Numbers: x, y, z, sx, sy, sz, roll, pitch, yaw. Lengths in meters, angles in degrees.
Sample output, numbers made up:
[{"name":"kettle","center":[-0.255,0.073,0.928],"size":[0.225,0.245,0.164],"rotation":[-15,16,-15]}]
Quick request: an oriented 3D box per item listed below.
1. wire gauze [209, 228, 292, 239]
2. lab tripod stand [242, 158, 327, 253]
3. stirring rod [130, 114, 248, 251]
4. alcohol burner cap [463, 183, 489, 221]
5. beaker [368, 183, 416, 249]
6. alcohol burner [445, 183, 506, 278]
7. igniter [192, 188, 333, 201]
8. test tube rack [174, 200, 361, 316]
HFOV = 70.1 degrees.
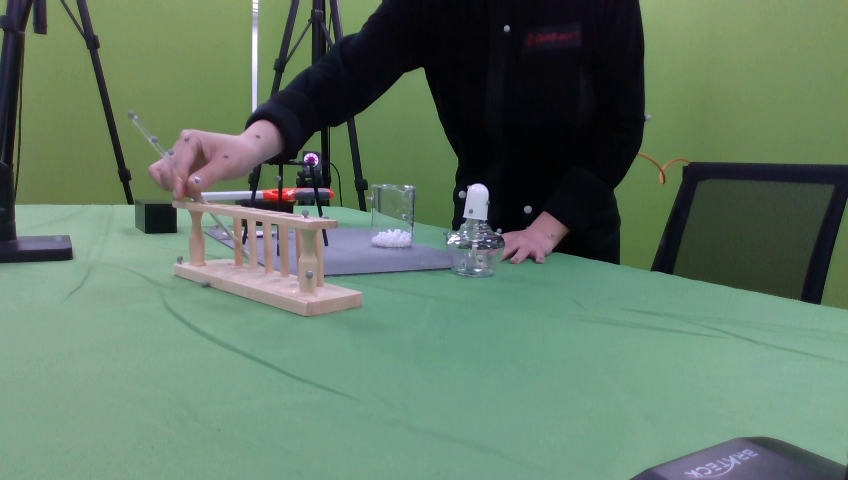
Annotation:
[{"name":"wire gauze","center":[-0.298,-0.013,1.039],"size":[0.122,0.011,0.124],"rotation":[-2,6,-27]},{"name":"lab tripod stand","center":[-0.207,-0.054,0.894],"size":[0.148,0.131,0.148],"rotation":[3,5,0]},{"name":"stirring rod","center":[-0.246,-0.059,0.641],"size":[0.006,0.176,0.014],"rotation":[-25,19,38]},{"name":"alcohol burner cap","center":[0.067,-0.048,0.765],"size":[0.034,0.048,0.034],"rotation":[5,5,0]},{"name":"beaker","center":[-0.051,-0.039,0.971],"size":[0.074,0.100,0.083],"rotation":[-1,9,-25]},{"name":"alcohol burner","center":[0.065,-0.013,0.770],"size":[0.078,0.119,0.078],"rotation":[0,7,0]},{"name":"igniter","center":[-0.316,-0.090,1.212],"size":[0.278,0.025,0.057],"rotation":[-5,12,-32]},{"name":"test tube rack","center":[-0.169,0.010,0.621],"size":[0.241,0.085,0.067],"rotation":[9,9,41]}]
